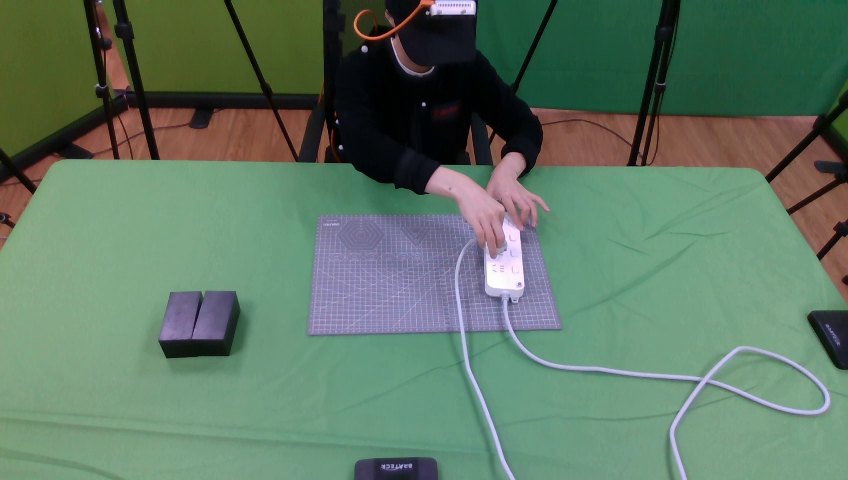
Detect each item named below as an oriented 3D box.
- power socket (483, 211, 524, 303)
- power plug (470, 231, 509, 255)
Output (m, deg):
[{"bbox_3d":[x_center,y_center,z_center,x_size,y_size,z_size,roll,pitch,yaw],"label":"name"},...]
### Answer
[{"bbox_3d":[0.153,0.024,1.174,0.072,0.033,0.225,4,46,1],"label":"power socket"},{"bbox_3d":[0.124,0.006,1.147,0.072,0.053,0.035,10,41,11],"label":"power plug"}]
